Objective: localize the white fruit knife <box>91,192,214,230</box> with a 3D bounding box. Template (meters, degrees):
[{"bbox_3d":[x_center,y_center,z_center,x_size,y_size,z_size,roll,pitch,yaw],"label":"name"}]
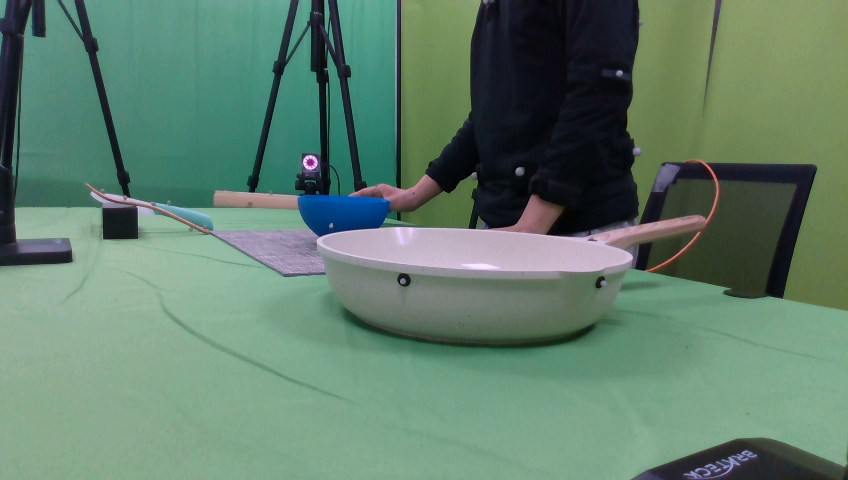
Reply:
[{"bbox_3d":[-0.477,-0.055,1.077,0.208,0.027,0.016,15,-5,-30],"label":"white fruit knife"}]

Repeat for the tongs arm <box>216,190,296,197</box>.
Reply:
[{"bbox_3d":[-0.268,-0.088,1.360,0.386,0.026,0.050,3,4,-15],"label":"tongs arm"}]

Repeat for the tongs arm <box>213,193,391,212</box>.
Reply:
[{"bbox_3d":[-0.244,-0.079,1.288,0.389,0.027,0.028,1,1,-27],"label":"tongs arm"}]

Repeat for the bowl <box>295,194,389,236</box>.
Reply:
[{"bbox_3d":[-0.132,-0.032,0.980,0.151,0.077,0.151,2,7,0],"label":"bowl"}]

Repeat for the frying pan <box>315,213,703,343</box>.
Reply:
[{"bbox_3d":[0.133,0.013,0.629,0.490,0.102,0.305,-11,14,-29],"label":"frying pan"}]

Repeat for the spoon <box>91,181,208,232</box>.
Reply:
[{"bbox_3d":[-0.461,-0.053,1.023,0.195,0.021,0.041,21,22,-24],"label":"spoon"}]
